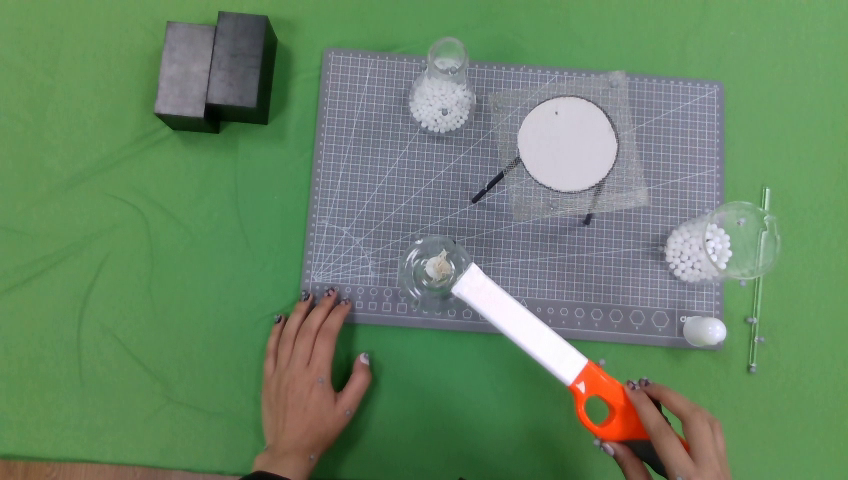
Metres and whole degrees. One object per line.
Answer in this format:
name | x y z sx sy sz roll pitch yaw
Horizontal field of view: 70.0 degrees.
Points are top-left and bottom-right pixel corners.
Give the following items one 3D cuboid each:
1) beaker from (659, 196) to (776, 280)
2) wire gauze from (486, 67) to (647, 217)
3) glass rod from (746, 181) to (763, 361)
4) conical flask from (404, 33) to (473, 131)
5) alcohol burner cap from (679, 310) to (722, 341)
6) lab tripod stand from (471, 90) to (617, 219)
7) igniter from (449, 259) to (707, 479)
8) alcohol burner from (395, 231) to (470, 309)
beaker | 0.291 0.001 0.610 0.084 0.100 0.074 -33 85 -7
wire gauze | 0.125 -0.085 0.529 0.125 0.011 0.121 -8 83 -3
glass rod | 0.360 0.031 0.658 0.008 0.008 0.199 8 82 -1
conical flask | 0.017 -0.162 0.608 0.075 0.122 0.075 0 82 -1
alcohol burner cap | 0.290 0.088 0.628 0.034 0.048 0.033 0 82 -2
lab tripod stand | 0.121 -0.078 0.596 0.148 0.131 0.148 0 84 -1
igniter | 0.134 0.117 0.515 0.277 0.025 0.057 40 83 -2
alcohol burner | 0.010 0.027 0.588 0.078 0.119 0.077 0 81 0
